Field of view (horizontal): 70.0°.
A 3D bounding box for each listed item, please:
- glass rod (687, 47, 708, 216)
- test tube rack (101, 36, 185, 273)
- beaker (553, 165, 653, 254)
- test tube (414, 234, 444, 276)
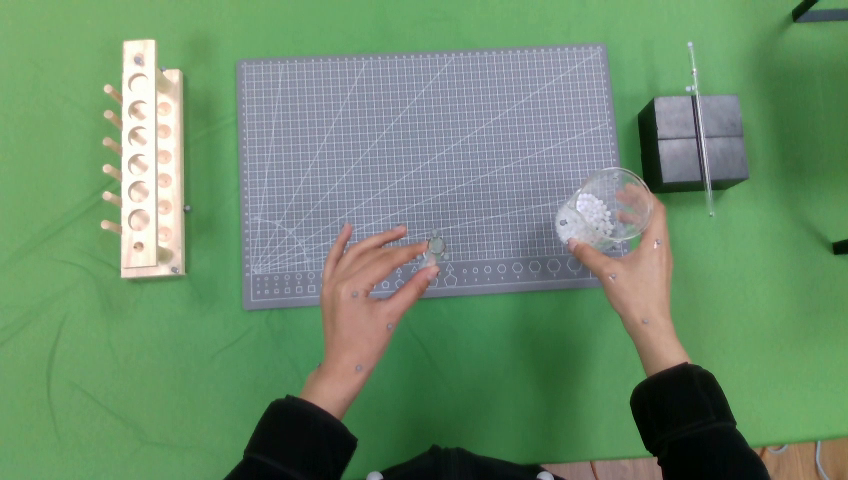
[{"bbox_3d":[0.310,-0.125,0.687,0.008,0.008,0.199,-1,82,-2],"label":"glass rod"},{"bbox_3d":[-0.311,-0.090,0.663,0.067,0.085,0.241,-3,81,-3],"label":"test tube rack"},{"bbox_3d":[0.179,-0.027,0.634,0.084,0.100,0.073,0,78,-4],"label":"beaker"},{"bbox_3d":[0.003,0.017,0.560,0.017,0.150,0.017,1,79,-4],"label":"test tube"}]
